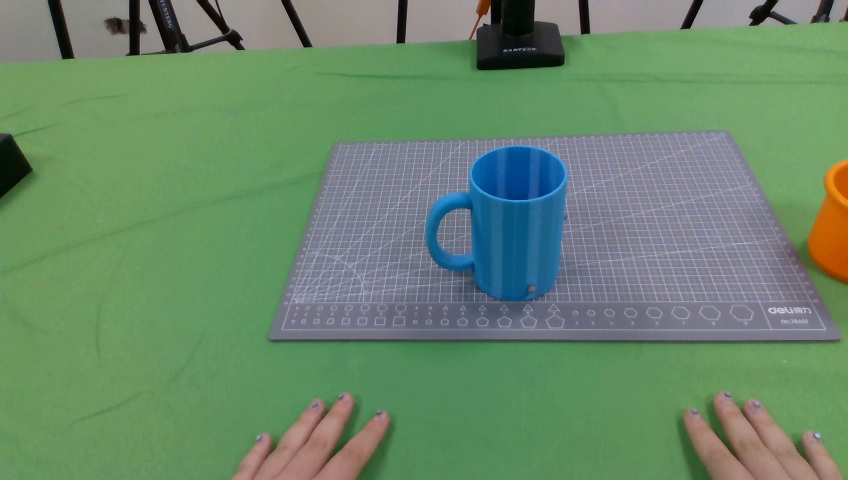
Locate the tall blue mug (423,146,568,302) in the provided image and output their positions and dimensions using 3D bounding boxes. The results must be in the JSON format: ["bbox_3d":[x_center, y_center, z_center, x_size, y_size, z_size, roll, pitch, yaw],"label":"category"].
[{"bbox_3d":[0.062,-0.006,0.495,0.107,0.109,0.077,-28,47,-23],"label":"tall blue mug"}]

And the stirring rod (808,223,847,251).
[{"bbox_3d":[0.394,-0.033,0.473,0.176,0.006,0.014,-33,29,37],"label":"stirring rod"}]
